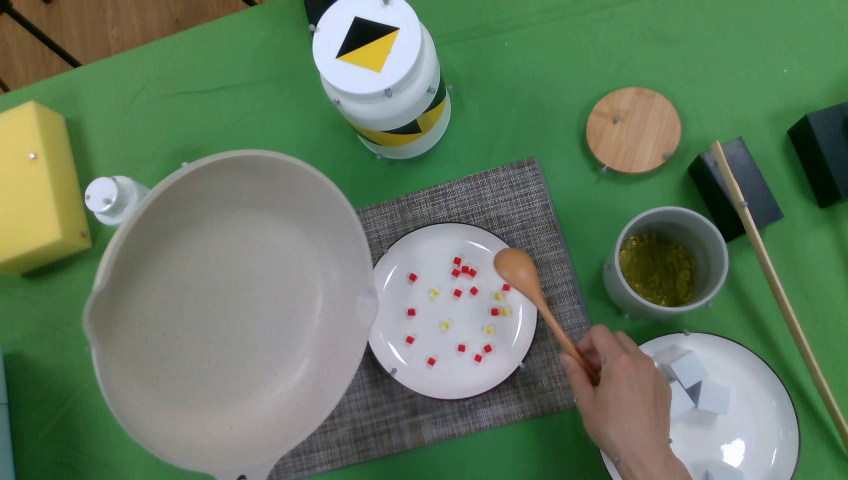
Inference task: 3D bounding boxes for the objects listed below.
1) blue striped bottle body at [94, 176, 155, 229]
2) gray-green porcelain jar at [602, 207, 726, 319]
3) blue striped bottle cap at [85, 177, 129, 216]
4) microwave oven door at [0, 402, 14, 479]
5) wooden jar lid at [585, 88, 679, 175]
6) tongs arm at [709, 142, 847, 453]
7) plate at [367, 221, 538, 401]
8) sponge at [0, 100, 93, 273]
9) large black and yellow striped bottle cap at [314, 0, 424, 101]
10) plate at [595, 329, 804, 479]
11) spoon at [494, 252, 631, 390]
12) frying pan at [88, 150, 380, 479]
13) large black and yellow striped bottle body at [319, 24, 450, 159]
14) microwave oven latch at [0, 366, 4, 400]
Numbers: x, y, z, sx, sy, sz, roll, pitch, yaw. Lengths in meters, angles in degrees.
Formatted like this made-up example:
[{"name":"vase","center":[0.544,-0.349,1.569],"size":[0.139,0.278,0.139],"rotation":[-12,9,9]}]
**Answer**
[{"name":"blue striped bottle body","center":[-0.364,-0.041,0.761],"size":[0.063,0.121,0.063],"rotation":[-2,79,9]},{"name":"gray-green porcelain jar","center":[0.248,0.030,0.648],"size":[0.106,0.127,0.105],"rotation":[-2,79,9]},{"name":"blue striped bottle cap","center":[-0.373,-0.052,0.712],"size":[0.044,0.021,0.044],"rotation":[-1,81,8]},{"name":"microwave oven door","center":[-0.532,0.357,0.634],"size":[0.039,0.245,0.354],"rotation":[-16,77,6]},{"name":"wooden jar lid","center":[0.249,-0.130,0.732],"size":[0.108,0.021,0.108],"rotation":[-1,81,9]},{"name":"tongs arm","center":[0.396,0.068,0.634],"size":[0.051,0.026,0.384],"rotation":[-21,87,3]},{"name":"plate","center":[0.030,0.082,0.715],"size":[0.209,0.038,0.208],"rotation":[-2,80,9]},{"name":"sponge","center":[-0.544,-0.071,0.826],"size":[0.118,0.061,0.205],"rotation":[-21,78,4]},{"name":"large black and yellow striped bottle cap","center":[-0.057,-0.200,0.623],"size":[0.115,0.019,0.114],"rotation":[-1,81,9]},{"name":"plate","center":[0.291,0.201,0.656],"size":[0.207,0.039,0.207],"rotation":[-2,80,9]},{"name":"spoon","center":[0.138,0.080,0.621],"size":[0.041,0.022,0.191],"rotation":[-37,54,-6]},{"name":"frying pan","center":[-0.167,0.165,0.565],"size":[0.102,0.309,0.486],"rotation":[-5,82,39]},{"name":"large black and yellow striped bottle body","center":[-0.044,-0.183,0.704],"size":[0.130,0.185,0.130],"rotation":[-2,79,9]},{"name":"microwave oven latch","center":[-0.565,0.169,0.778],"size":[0.030,0.029,0.079],"rotation":[-15,78,6]}]
